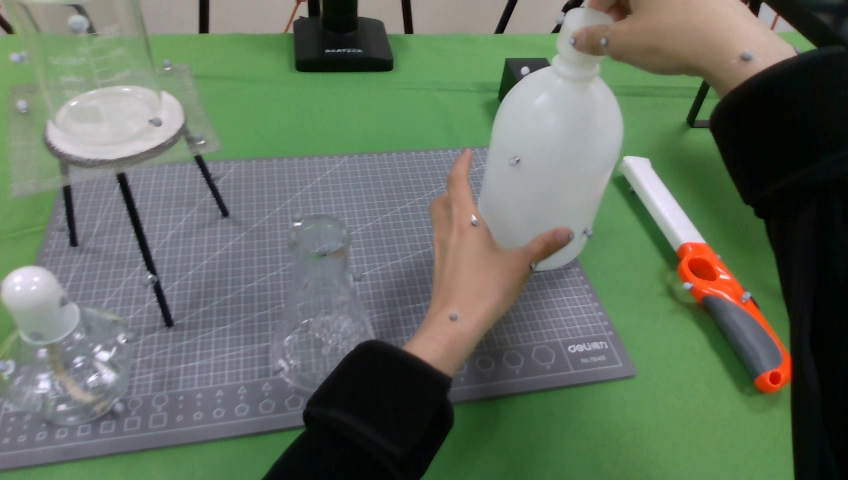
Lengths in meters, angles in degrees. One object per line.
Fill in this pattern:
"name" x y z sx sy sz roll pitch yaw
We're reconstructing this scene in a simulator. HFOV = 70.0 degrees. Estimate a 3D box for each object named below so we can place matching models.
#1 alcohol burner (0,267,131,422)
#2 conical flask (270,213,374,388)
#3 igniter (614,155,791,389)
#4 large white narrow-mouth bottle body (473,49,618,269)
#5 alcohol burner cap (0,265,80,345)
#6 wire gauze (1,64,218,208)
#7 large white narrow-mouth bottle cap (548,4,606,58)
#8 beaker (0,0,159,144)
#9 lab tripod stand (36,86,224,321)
"alcohol burner" -0.226 0.060 0.372 0.078 0.120 0.077 5 43 -4
"conical flask" -0.070 0.039 0.407 0.075 0.123 0.074 4 45 -3
"igniter" 0.240 0.013 0.544 0.057 0.025 0.273 4 44 -19
"large white narrow-mouth bottle body" 0.100 -0.073 0.489 0.102 0.196 0.101 3 45 -3
"alcohol burner cap" -0.222 0.035 0.345 0.034 0.048 0.033 4 50 -4
"wire gauze" -0.212 -0.080 0.406 0.122 0.011 0.123 -17 53 -20
"large white narrow-mouth bottle cap" 0.106 -0.145 0.419 0.038 0.024 0.037 3 45 -3
"beaker" -0.212 -0.116 0.373 0.084 0.101 0.073 -10 48 -16
"lab tripod stand" -0.214 -0.032 0.451 0.148 0.132 0.147 5 45 -5
